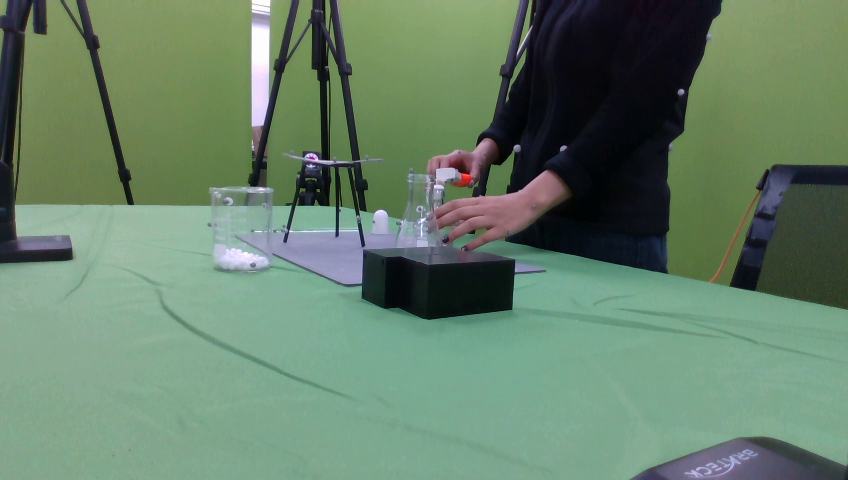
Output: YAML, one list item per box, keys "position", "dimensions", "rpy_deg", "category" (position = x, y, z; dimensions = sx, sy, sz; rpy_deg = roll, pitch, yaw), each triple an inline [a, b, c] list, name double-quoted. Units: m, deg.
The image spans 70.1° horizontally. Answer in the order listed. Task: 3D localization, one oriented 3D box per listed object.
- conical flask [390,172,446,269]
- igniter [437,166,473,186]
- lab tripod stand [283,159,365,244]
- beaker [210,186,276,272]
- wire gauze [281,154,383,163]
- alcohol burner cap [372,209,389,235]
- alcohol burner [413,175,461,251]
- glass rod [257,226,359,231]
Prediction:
- position: [-0.006, -0.027, 0.790]
  dimensions: [0.075, 0.122, 0.075]
  rpy_deg: [2, 7, 0]
  category: "conical flask"
- position: [0.058, -0.115, 1.099]
  dimensions: [0.057, 0.025, 0.277]
  rpy_deg: [-1, 3, 9]
  category: "igniter"
- position: [-0.151, -0.063, 0.983]
  dimensions: [0.148, 0.131, 0.148]
  rpy_deg: [4, 7, 0]
  category: "lab tripod stand"
- position: [-0.224, -0.014, 0.738]
  dimensions: [0.084, 0.100, 0.074]
  rpy_deg: [4, 7, 16]
  category: "beaker"
- position: [-0.146, -0.130, 0.977]
  dimensions: [0.124, 0.011, 0.122]
  rpy_deg: [9, 10, 41]
  category: "wire gauze"
- position: [-0.082, -0.035, 1.143]
  dimensions: [0.034, 0.048, 0.034]
  rpy_deg: [2, 6, 0]
  category: "alcohol burner cap"
- position: [0.021, -0.043, 0.957]
  dimensions: [0.078, 0.119, 0.078]
  rpy_deg: [1, 6, 0]
  category: "alcohol burner"
- position: [-0.215, -0.022, 1.151]
  dimensions: [0.201, 0.008, 0.008]
  rpy_deg: [-2, 8, -28]
  category: "glass rod"
